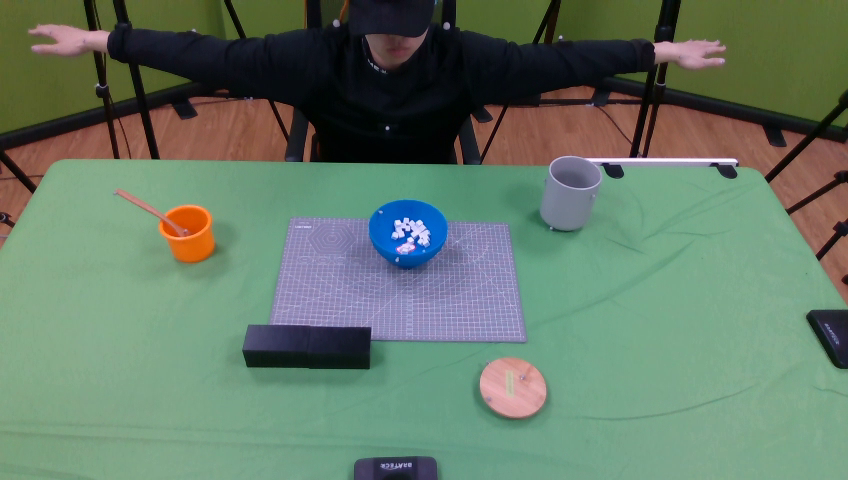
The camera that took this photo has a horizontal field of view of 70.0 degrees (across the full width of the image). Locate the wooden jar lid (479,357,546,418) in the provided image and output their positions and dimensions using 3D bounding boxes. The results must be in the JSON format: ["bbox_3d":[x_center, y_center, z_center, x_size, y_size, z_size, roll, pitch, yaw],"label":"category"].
[{"bbox_3d":[0.142,0.240,0.979,0.108,0.021,0.107,1,46,-1],"label":"wooden jar lid"}]

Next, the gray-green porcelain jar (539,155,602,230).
[{"bbox_3d":[0.294,-0.091,1.235,0.106,0.127,0.105,2,46,-2],"label":"gray-green porcelain jar"}]

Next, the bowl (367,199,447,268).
[{"bbox_3d":[-0.033,0.000,1.152,0.151,0.077,0.150,2,46,-2],"label":"bowl"}]

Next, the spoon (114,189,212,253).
[{"bbox_3d":[-0.475,-0.037,1.109,0.021,0.195,0.041,-29,34,31],"label":"spoon"}]
